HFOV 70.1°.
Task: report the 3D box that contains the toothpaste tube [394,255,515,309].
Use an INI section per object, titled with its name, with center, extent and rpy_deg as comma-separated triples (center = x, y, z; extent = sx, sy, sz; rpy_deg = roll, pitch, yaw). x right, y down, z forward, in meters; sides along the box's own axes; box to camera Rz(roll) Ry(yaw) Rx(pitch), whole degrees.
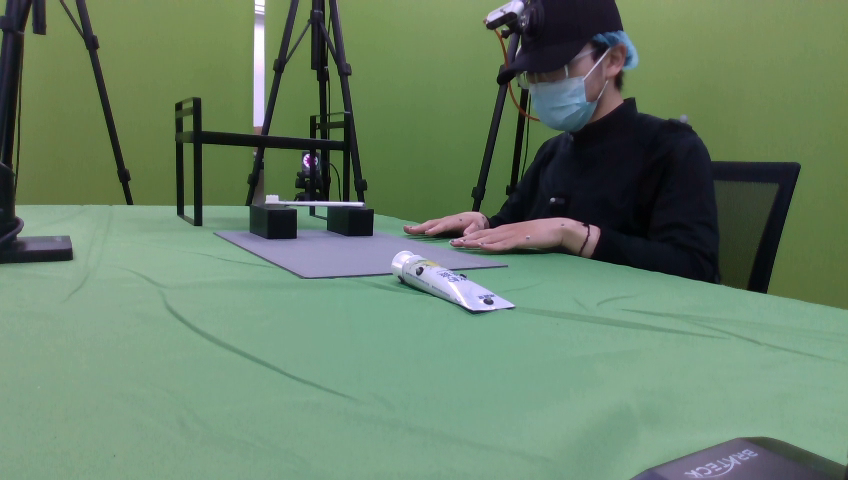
[toothpaste tube]
center = 0.020, 0.046, 0.636
extent = 0.055, 0.034, 0.164
rpy_deg = -6, 15, -35

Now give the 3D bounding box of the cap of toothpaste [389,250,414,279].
[cap of toothpaste]
center = -0.023, 0.030, 0.700
extent = 0.037, 0.037, 0.011
rpy_deg = -3, 13, -35

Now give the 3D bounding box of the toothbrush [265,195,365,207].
[toothbrush]
center = -0.192, -0.068, 1.081
extent = 0.183, 0.016, 0.014
rpy_deg = 1, -8, -26
